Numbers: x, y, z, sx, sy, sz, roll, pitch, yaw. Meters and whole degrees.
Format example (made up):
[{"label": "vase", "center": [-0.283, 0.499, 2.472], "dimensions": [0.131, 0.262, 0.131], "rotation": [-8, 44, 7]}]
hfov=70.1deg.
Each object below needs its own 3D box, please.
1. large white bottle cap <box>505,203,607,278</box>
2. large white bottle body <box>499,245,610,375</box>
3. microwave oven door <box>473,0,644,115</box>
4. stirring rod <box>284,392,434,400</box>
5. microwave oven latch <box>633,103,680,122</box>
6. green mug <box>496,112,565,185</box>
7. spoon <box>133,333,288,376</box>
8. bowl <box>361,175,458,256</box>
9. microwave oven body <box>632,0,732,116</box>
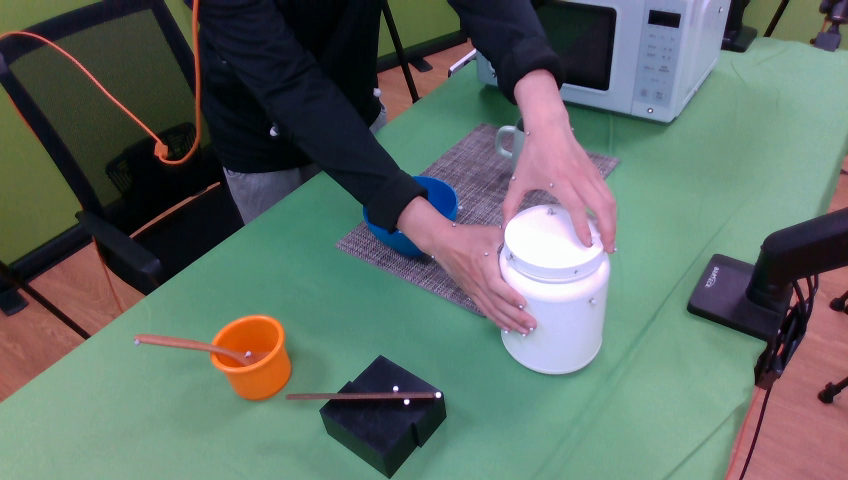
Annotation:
[{"label": "large white bottle cap", "center": [0.150, -0.002, 0.691], "dimensions": [0.115, 0.018, 0.114], "rotation": [-5, 41, 4]}, {"label": "large white bottle body", "center": [0.159, 0.062, 0.747], "dimensions": [0.130, 0.185, 0.130], "rotation": [-4, 40, 4]}, {"label": "microwave oven door", "center": [0.257, -0.396, 1.199], "dimensions": [0.353, 0.245, 0.039], "rotation": [21, 48, 29]}, {"label": "stirring rod", "center": [-0.076, 0.180, 0.698], "dimensions": [0.176, 0.006, 0.014], "rotation": [-2, 5, 6]}, {"label": "microwave oven latch", "center": [0.443, -0.249, 1.157], "dimensions": [0.078, 0.029, 0.030], "rotation": [20, 48, 30]}, {"label": "green mug", "center": [0.184, -0.161, 1.061], "dimensions": [0.124, 0.105, 0.092], "rotation": [15, 46, 24]}, {"label": "spoon", "center": [-0.257, 0.137, 0.747], "dimensions": [0.021, 0.195, 0.041], "rotation": [-49, 39, 21]}, {"label": "bowl", "center": [-0.019, -0.028, 0.955], "dimensions": [0.151, 0.077, 0.150], "rotation": [-4, 40, 4]}, {"label": "microwave oven body", "center": [0.377, -0.462, 1.267], "dimensions": [0.438, 0.261, 0.327], "rotation": [21, 48, 30]}]
